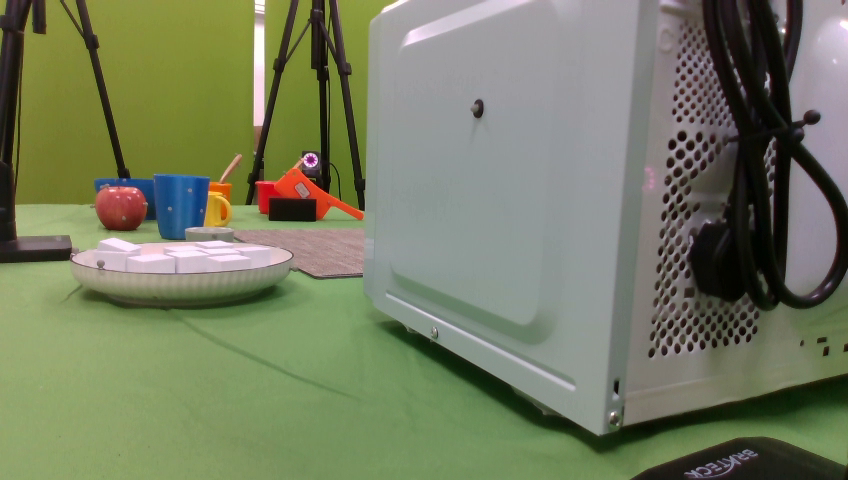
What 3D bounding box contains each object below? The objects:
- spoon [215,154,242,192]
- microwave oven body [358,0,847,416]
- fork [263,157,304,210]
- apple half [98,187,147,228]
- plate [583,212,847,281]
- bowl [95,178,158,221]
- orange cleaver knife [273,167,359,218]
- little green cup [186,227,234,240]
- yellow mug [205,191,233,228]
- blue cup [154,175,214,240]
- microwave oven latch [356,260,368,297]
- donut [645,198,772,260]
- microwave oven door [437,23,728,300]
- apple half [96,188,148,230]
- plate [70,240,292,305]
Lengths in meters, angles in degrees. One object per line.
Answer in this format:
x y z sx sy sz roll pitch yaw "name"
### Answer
-0.439 -0.124 1.318 0.041 0.193 0.022 5 -36 16 "spoon"
0.211 -0.047 0.474 0.444 0.260 0.324 -1 8 -28 "microwave oven body"
-0.345 -0.143 1.505 0.028 0.019 0.207 -3 46 28 "fork"
-0.534 -0.059 1.071 0.082 0.081 0.032 -1 11 -25 "apple half"
0.239 0.002 0.510 0.209 0.038 0.209 2 7 0 "plate"
-0.576 -0.081 1.217 0.151 0.077 0.151 3 8 0 "bowl"
-0.238 -0.091 1.381 0.212 0.077 0.012 31 0 -19 "orange cleaver knife"
-0.285 0.005 0.805 0.061 0.038 0.061 2 8 0 "little green cup"
-0.415 -0.057 1.132 0.130 0.064 0.100 6 8 16 "yellow mug"
-0.390 -0.053 0.978 0.093 0.100 0.092 3 6 0 "blue cup"
-0.019 0.033 0.530 0.079 0.029 0.030 -1 7 -26 "microwave oven latch"
0.239 -0.008 0.513 0.099 0.048 0.099 10 1 0 "donut"
0.181 -0.072 0.621 0.358 0.243 0.039 -2 8 -29 "microwave oven door"
-0.517 -0.052 1.036 0.081 0.074 0.053 2 10 -26 "apple half"
-0.242 0.031 0.618 0.208 0.039 0.207 2 8 0 "plate"
